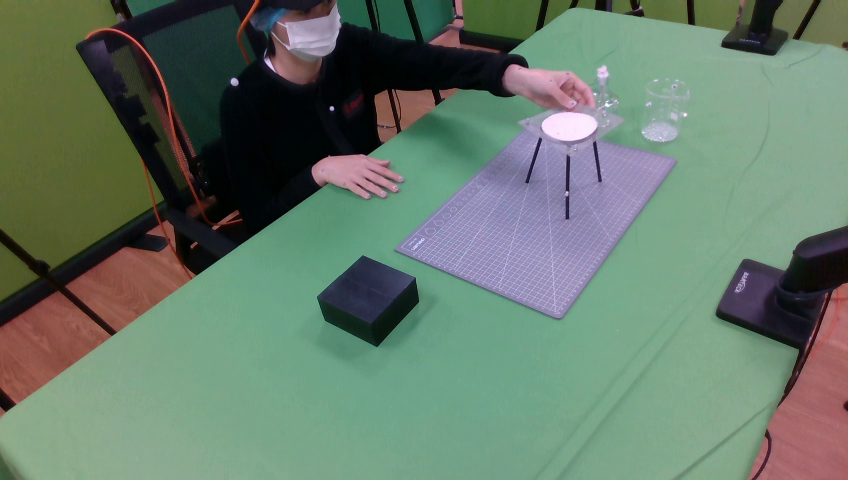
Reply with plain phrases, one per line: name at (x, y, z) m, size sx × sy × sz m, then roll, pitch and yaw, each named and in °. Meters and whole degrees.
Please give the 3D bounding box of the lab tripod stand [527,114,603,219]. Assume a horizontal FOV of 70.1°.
lab tripod stand at (0.234, -0.129, 1.002) m, size 0.148 × 0.132 × 0.147 m, roll -6°, pitch 40°, yaw 6°

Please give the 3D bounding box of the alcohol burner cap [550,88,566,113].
alcohol burner cap at (0.282, -0.296, 1.270) m, size 0.034 × 0.048 × 0.033 m, roll -4°, pitch 41°, yaw 4°

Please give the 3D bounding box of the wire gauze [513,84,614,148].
wire gauze at (0.220, -0.194, 0.951) m, size 0.120 × 0.011 × 0.125 m, roll 23°, pitch 56°, yaw 25°

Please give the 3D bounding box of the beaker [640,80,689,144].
beaker at (0.446, -0.235, 1.126) m, size 0.074 × 0.101 × 0.083 m, roll -34°, pitch 47°, yaw -27°

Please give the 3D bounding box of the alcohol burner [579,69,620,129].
alcohol burner at (0.345, -0.280, 1.184) m, size 0.078 × 0.119 × 0.077 m, roll -4°, pitch 42°, yaw 4°
